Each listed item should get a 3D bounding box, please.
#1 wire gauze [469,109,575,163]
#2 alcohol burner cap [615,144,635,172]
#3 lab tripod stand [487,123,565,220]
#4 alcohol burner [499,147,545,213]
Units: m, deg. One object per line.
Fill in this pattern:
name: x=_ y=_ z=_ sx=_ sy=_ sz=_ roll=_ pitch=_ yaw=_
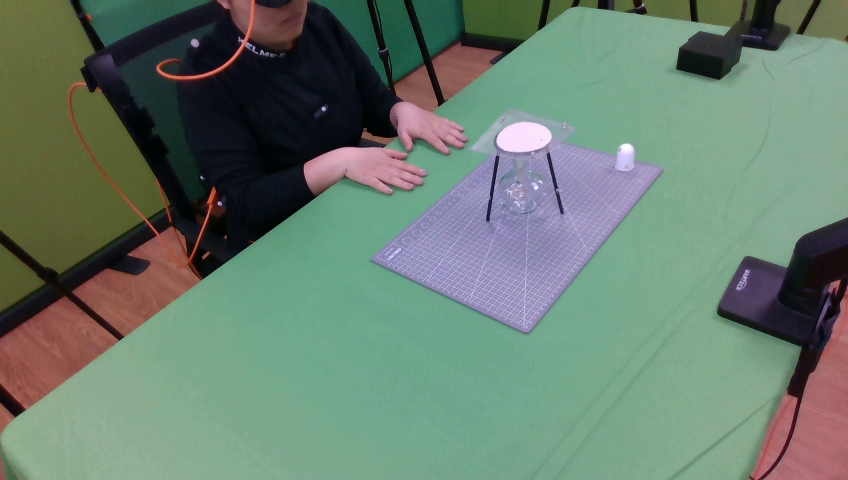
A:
wire gauze: x=0.154 y=-0.163 z=0.950 sx=0.120 sy=0.011 sz=0.125 roll=22 pitch=50 yaw=32
alcohol burner cap: x=0.357 y=-0.147 z=1.069 sx=0.034 sy=0.048 sz=0.033 roll=-7 pitch=40 yaw=6
lab tripod stand: x=0.162 y=-0.110 z=0.992 sx=0.148 sy=0.132 sz=0.147 roll=-5 pitch=42 yaw=5
alcohol burner: x=0.161 y=-0.104 z=1.001 sx=0.078 sy=0.120 sz=0.077 roll=-6 pitch=42 yaw=6
